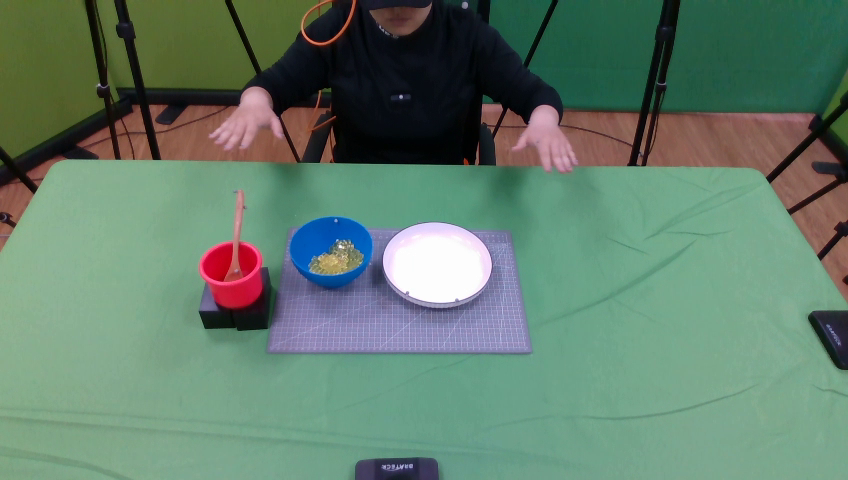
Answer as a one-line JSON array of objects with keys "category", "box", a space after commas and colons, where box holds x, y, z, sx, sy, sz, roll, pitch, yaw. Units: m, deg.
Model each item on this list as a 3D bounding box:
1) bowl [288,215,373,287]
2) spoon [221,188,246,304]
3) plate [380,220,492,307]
[{"category": "bowl", "box": [-0.168, 0.034, 1.109, 0.151, 0.077, 0.150, 2, 46, -2]}, {"category": "spoon", "box": [-0.312, 0.010, 1.011, 0.041, 0.021, 0.193, 4, 90, 3]}, {"category": "plate", "box": [0.021, 0.048, 1.137, 0.208, 0.039, 0.206, 2, 46, -2]}]
